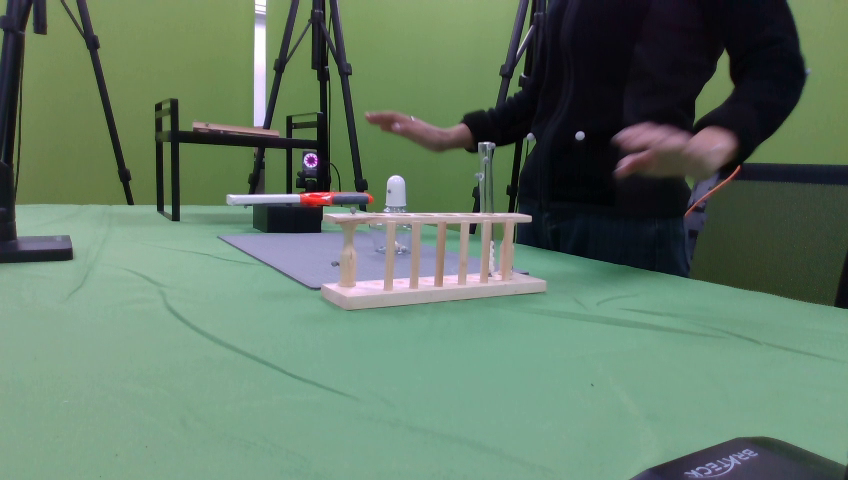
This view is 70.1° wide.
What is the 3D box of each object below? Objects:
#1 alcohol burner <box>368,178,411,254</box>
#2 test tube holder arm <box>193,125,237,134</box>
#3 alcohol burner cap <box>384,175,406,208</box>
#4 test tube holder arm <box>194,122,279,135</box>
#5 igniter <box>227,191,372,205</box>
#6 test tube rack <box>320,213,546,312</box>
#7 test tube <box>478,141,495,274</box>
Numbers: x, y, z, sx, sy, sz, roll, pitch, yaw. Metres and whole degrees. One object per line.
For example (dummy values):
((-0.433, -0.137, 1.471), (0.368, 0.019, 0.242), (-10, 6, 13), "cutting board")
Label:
((-0.045, -0.038, 0.913), (0.078, 0.119, 0.078), (5, 7, 0), "alcohol burner")
((-0.443, -0.235, 1.284), (0.088, 0.015, 0.010), (-2, -21, -28), "test tube holder arm")
((-0.044, -0.074, 0.908), (0.034, 0.048, 0.034), (0, 12, 0), "alcohol burner cap")
((-0.401, -0.238, 1.301), (0.179, 0.015, 0.013), (-2, -21, -29), "test tube holder arm")
((-0.232, -0.080, 1.161), (0.278, 0.025, 0.057), (-3, 12, -28), "igniter")
((0.017, 0.017, 0.638), (0.244, 0.085, 0.066), (-2, 9, -31), "test tube rack")
((0.071, -0.036, 0.683), (0.017, 0.150, 0.017), (-2, 8, 1), "test tube")
